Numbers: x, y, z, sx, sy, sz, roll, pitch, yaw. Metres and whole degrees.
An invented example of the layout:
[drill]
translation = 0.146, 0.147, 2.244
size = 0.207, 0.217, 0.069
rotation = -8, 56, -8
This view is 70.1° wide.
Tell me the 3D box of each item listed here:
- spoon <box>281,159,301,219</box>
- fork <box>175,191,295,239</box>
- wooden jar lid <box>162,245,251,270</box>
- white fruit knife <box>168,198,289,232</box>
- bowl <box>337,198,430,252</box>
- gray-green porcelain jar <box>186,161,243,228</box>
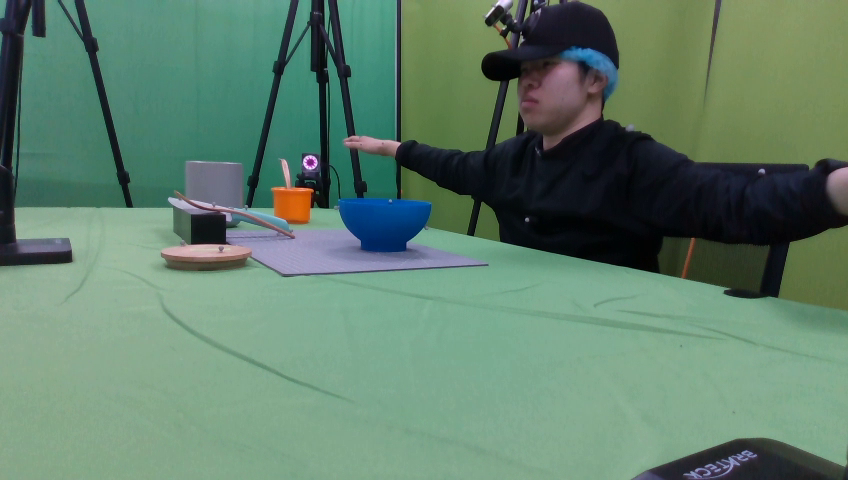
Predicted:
[spoon]
translation = -0.307, -0.117, 1.368
size = 0.042, 0.193, 0.021
rotation = 1, -37, -23
[fork]
translation = -0.305, -0.039, 0.993
size = 0.208, 0.018, 0.028
rotation = 19, -9, -34
[wooden jar lid]
translation = -0.278, 0.022, 0.777
size = 0.108, 0.020, 0.108
rotation = 2, 6, 0
[white fruit knife]
translation = -0.329, -0.044, 1.036
size = 0.208, 0.027, 0.016
rotation = 14, -1, -32
[bowl]
translation = -0.066, -0.024, 0.967
size = 0.151, 0.077, 0.151
rotation = 3, 7, 0
[gray-green porcelain jar]
translation = -0.412, -0.090, 1.193
size = 0.106, 0.126, 0.106
rotation = 2, 7, 0
